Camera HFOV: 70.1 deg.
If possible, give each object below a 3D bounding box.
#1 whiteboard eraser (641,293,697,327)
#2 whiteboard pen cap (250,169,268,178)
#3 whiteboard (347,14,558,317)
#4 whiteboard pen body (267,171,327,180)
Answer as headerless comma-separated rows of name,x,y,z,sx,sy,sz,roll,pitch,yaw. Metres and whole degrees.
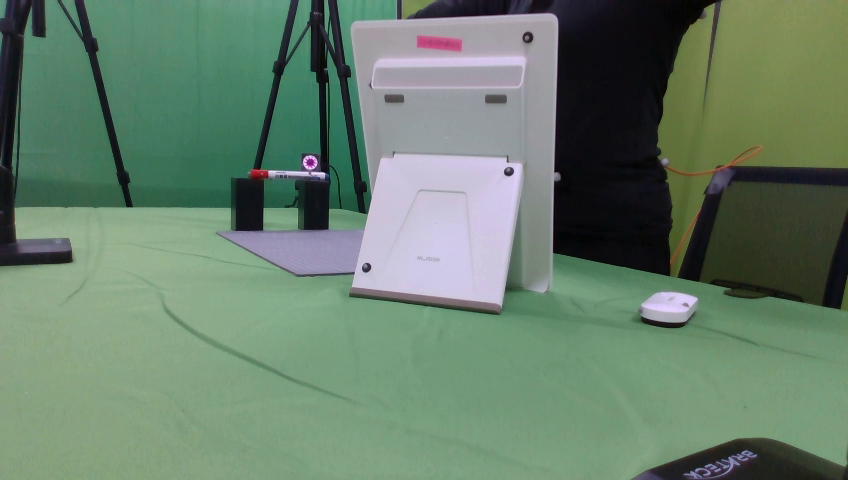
whiteboard eraser,0.240,0.066,0.591,0.041,0.019,0.102,6,7,31
whiteboard pen cap,-0.315,-0.127,1.155,0.032,0.017,0.017,1,7,-24
whiteboard,0.012,-0.056,0.609,0.216,0.305,0.144,5,27,20
whiteboard pen body,-0.260,-0.126,1.181,0.141,0.017,0.017,-2,8,-26
